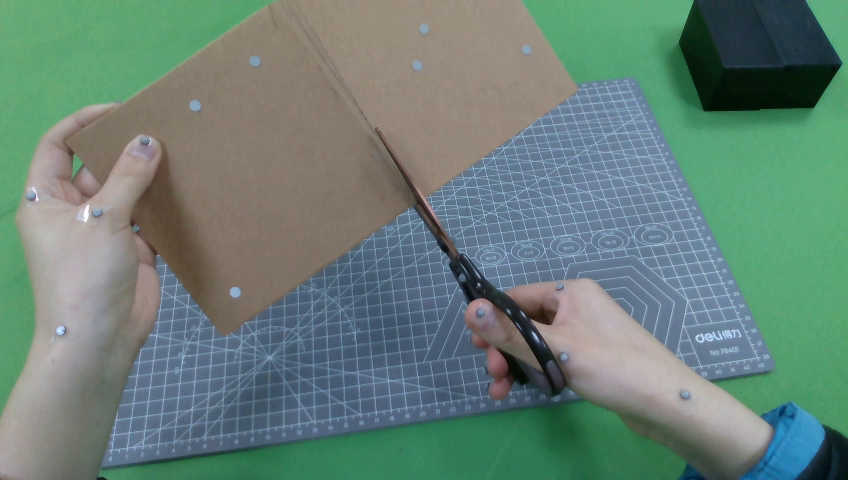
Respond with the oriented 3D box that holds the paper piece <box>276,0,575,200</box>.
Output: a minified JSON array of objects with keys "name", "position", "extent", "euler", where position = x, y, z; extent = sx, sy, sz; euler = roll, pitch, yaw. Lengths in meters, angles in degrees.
[{"name":"paper piece","position":[0.009,-0.113,0.356],"extent":[0.135,0.004,0.135],"euler":[-36,95,-19]}]

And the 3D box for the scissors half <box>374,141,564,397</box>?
[{"name":"scissors half","position":[0.019,0.008,0.328],"extent":[0.013,0.040,0.174],"euler":[-32,69,-12]}]

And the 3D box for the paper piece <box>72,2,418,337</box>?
[{"name":"paper piece","position":[-0.098,-0.038,0.336],"extent":[0.138,0.008,0.136],"euler":[-34,93,0]}]

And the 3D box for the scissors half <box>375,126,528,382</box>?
[{"name":"scissors half","position":[0.017,0.011,0.352],"extent":[0.013,0.176,0.040],"euler":[-32,17,-7]}]
